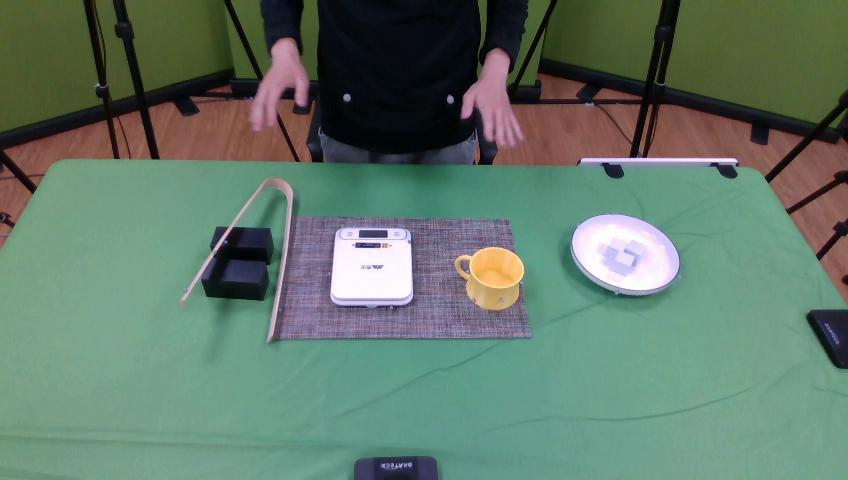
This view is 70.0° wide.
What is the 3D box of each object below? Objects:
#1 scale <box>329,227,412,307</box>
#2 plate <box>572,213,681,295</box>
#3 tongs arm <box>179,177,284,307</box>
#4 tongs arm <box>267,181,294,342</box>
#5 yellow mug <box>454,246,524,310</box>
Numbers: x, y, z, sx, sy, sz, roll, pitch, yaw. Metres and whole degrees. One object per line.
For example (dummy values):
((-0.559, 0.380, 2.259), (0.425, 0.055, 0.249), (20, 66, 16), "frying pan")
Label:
((-0.099, 0.042, 1.139), (0.149, 0.032, 0.199), (1, 46, -4), "scale")
((0.393, 0.030, 1.189), (0.208, 0.039, 0.206), (2, 46, -2), "plate")
((-0.342, -0.008, 1.118), (0.051, 0.026, 0.382), (29, 38, -14), "tongs arm")
((-0.273, 0.027, 1.144), (0.028, 0.028, 0.385), (17, 42, -22), "tongs arm")
((0.115, 0.064, 1.111), (0.130, 0.064, 0.099), (21, 49, 17), "yellow mug")
